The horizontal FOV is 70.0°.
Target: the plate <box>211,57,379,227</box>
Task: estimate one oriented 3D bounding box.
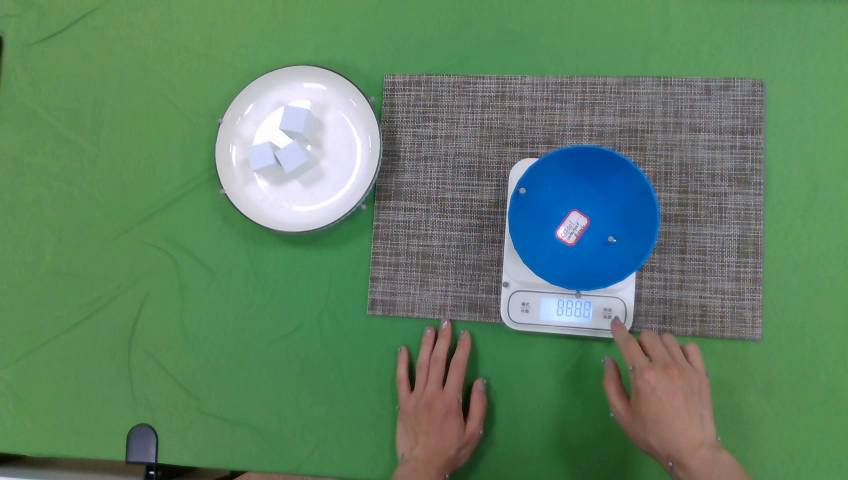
[{"bbox_3d":[-0.155,-0.117,0.744,0.207,0.039,0.207,-1,85,6],"label":"plate"}]

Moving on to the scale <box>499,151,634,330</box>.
[{"bbox_3d":[0.165,0.000,0.694,0.148,0.031,0.200,3,85,7],"label":"scale"}]

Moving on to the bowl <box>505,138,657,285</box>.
[{"bbox_3d":[0.160,-0.025,0.644,0.151,0.077,0.151,0,85,6],"label":"bowl"}]
